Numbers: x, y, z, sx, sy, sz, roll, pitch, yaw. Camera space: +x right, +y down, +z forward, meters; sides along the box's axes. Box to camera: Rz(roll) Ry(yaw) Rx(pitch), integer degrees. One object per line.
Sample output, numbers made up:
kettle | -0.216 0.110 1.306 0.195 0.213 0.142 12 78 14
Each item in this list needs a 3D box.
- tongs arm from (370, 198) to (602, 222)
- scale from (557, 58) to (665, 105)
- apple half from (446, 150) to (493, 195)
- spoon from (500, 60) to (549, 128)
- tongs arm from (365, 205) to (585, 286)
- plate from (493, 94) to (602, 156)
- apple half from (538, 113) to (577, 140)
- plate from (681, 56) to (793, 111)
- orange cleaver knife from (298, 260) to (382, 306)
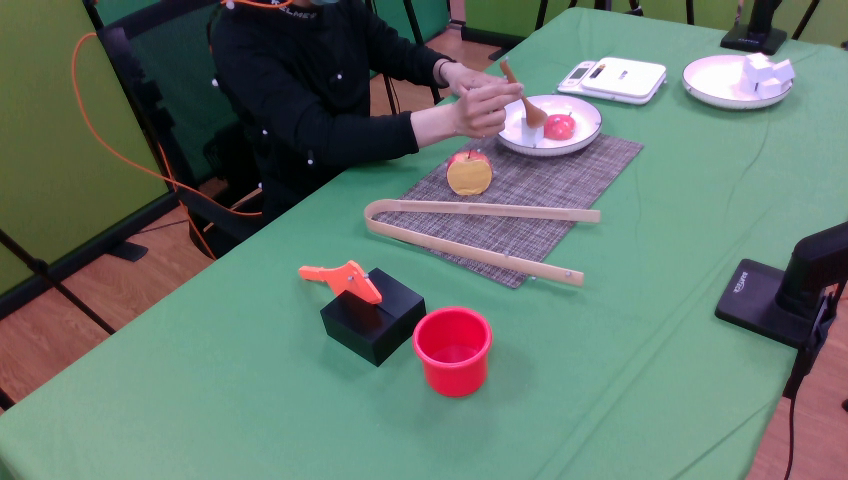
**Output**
tongs arm | 0.097 -0.048 1.009 0.386 0.028 0.028 3 46 13
scale | 0.407 -0.348 1.314 0.199 0.032 0.149 19 47 28
apple half | 0.080 -0.124 1.065 0.081 0.075 0.053 -7 36 6
spoon | 0.171 -0.249 1.045 0.041 0.195 0.021 -31 51 16
tongs arm | 0.067 0.004 0.951 0.382 0.026 0.051 13 46 23
plate | 0.240 -0.221 1.181 0.209 0.038 0.208 -4 41 4
apple half | 0.261 -0.228 1.178 0.081 0.033 0.081 -2 41 2
plate | 0.636 -0.317 1.239 0.207 0.039 0.206 -4 40 4
orange cleaver knife | -0.125 0.063 0.876 0.012 0.077 0.210 -38 19 -30
